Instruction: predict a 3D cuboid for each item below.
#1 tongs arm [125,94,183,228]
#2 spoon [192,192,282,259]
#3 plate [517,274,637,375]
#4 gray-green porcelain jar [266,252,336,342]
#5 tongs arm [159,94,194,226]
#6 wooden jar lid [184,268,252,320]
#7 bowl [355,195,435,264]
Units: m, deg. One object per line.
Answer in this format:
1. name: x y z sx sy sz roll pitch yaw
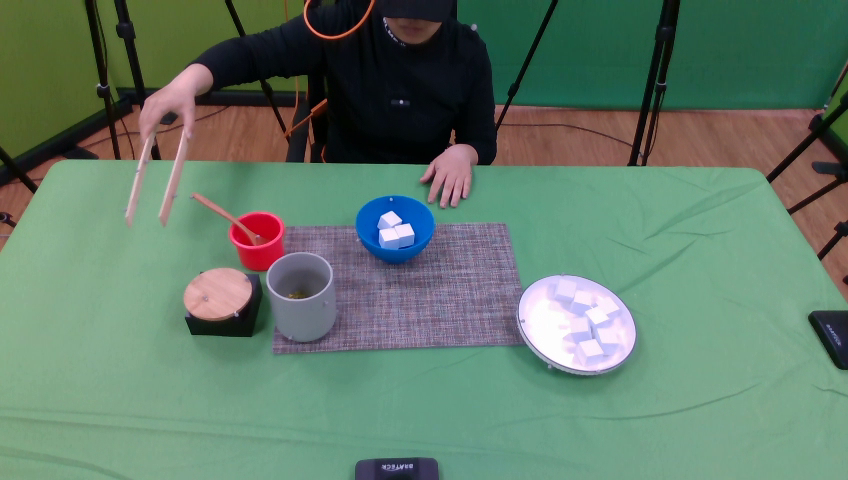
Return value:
1. tongs arm: -0.489 -0.159 1.111 0.051 0.026 0.382 -7 44 -8
2. spoon: -0.342 -0.027 1.115 0.194 0.021 0.041 43 40 -24
3. plate: 0.264 0.149 1.060 0.209 0.038 0.208 3 46 -3
4. gray-green porcelain jar: -0.202 0.100 1.009 0.106 0.127 0.105 2 46 -2
5. tongs arm: -0.456 -0.161 1.115 0.028 0.028 0.385 -9 44 -5
6. wooden jar lid: -0.343 0.092 1.015 0.108 0.021 0.107 3 46 -3
7. bowl: -0.056 -0.008 1.158 0.151 0.077 0.150 2 46 -2
